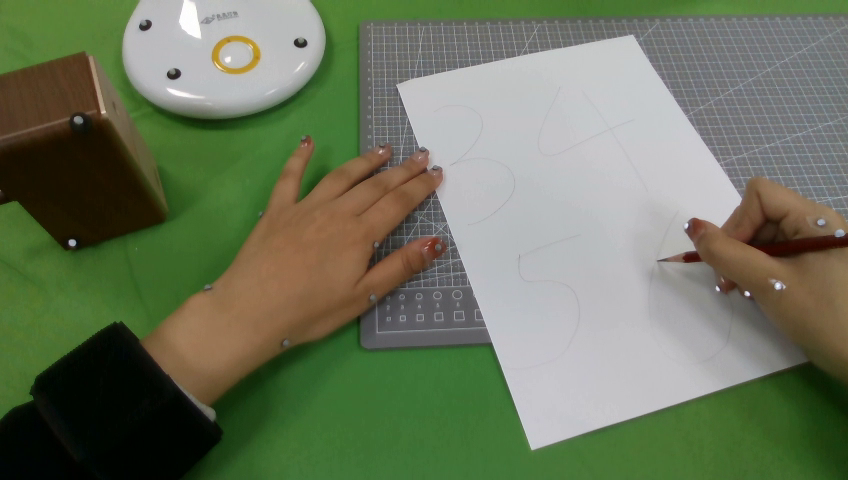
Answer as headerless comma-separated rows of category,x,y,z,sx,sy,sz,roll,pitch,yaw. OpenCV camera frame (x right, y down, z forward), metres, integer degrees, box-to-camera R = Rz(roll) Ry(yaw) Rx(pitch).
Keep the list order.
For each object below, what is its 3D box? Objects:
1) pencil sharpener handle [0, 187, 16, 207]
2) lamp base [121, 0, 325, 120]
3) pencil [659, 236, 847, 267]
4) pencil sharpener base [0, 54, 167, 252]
pencil sharpener handle,-0.266,-0.039,0.357,0.031,0.068,0.035,-21,64,-13
lamp base,-0.168,-0.208,0.433,0.160,0.182,0.177,-30,62,-18
pencil,0.219,0.004,0.336,0.012,0.193,0.012,7,78,-38
pencil sharpener base,-0.220,-0.049,0.379,0.077,0.108,0.061,-21,62,-13
